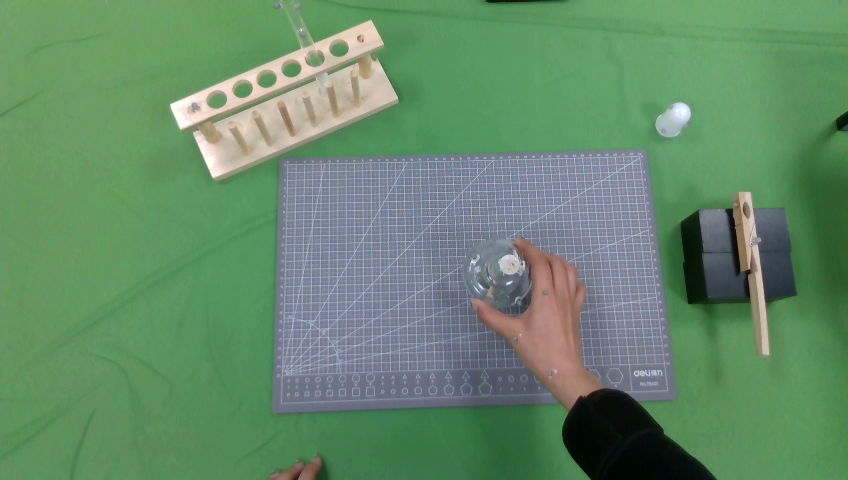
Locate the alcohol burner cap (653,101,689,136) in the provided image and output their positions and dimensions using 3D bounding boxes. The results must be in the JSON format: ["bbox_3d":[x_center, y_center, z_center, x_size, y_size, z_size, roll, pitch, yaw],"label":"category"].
[{"bbox_3d":[0.303,-0.150,0.739,0.034,0.048,0.033,0,76,0],"label":"alcohol burner cap"}]

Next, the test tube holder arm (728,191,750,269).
[{"bbox_3d":[0.349,-0.011,0.669,0.010,0.015,0.087,-3,78,-1],"label":"test tube holder arm"}]

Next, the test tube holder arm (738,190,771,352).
[{"bbox_3d":[0.358,0.032,0.660,0.013,0.015,0.177,-4,78,-2],"label":"test tube holder arm"}]

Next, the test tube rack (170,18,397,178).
[{"bbox_3d":[-0.156,-0.163,0.709,0.242,0.085,0.066,-25,78,-7],"label":"test tube rack"}]

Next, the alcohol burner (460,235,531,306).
[{"bbox_3d":[0.079,0.030,0.640,0.078,0.119,0.077,1,80,-4],"label":"alcohol burner"}]

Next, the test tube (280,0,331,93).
[{"bbox_3d":[-0.126,-0.212,0.668,0.017,0.151,0.017,-3,67,7],"label":"test tube"}]
